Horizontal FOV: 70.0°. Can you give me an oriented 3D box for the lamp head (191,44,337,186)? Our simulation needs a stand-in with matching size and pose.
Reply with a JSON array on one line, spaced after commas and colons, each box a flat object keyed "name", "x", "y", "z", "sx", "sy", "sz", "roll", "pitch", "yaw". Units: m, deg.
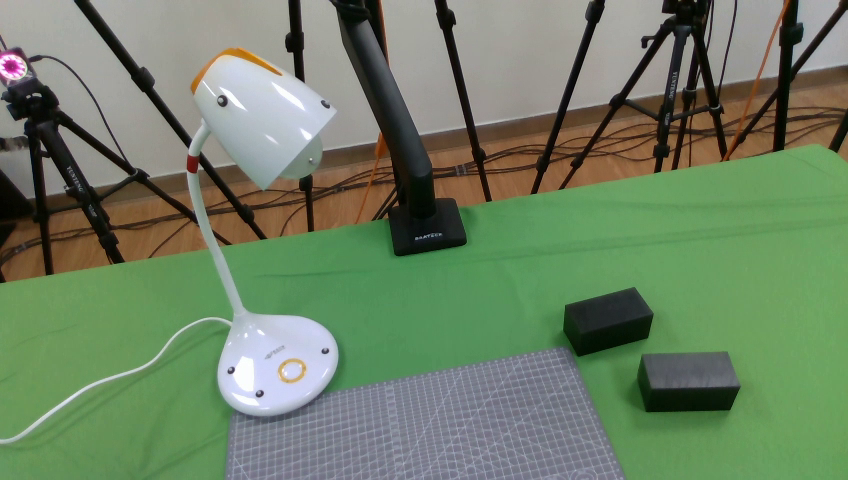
[{"name": "lamp head", "x": -0.168, "y": -0.128, "z": 0.600, "sx": 0.123, "sy": 0.112, "sz": 0.112, "roll": 38, "pitch": 47, "yaw": -12}]

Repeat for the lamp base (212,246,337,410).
[{"name": "lamp base", "x": -0.214, "y": 0.099, "z": 0.776, "sx": 0.177, "sy": 0.182, "sz": 0.160, "roll": 22, "pitch": 48, "yaw": 32}]
